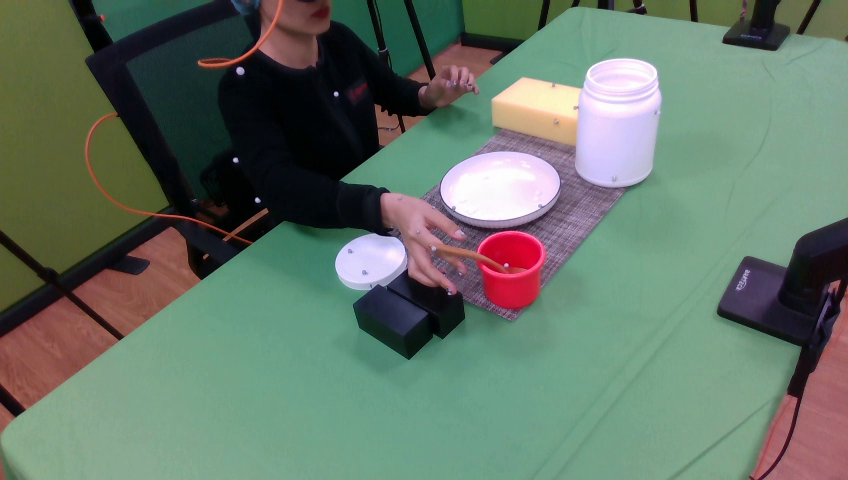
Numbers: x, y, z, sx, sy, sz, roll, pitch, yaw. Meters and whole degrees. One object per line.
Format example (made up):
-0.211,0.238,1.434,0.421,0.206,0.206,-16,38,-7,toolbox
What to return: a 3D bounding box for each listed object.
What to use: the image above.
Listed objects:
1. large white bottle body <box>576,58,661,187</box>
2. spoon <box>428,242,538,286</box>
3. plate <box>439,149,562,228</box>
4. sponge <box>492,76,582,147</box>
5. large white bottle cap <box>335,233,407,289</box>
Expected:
0.326,-0.197,1.021,0.130,0.185,0.130,-5,40,5,large white bottle body
0.084,0.030,0.832,0.195,0.021,0.041,22,27,-34,spoon
0.131,-0.085,1.040,0.209,0.038,0.208,-5,40,5,plate
0.254,-0.259,1.207,0.205,0.061,0.118,22,47,31,sponge
-0.085,0.031,0.961,0.115,0.018,0.114,-6,42,6,large white bottle cap
